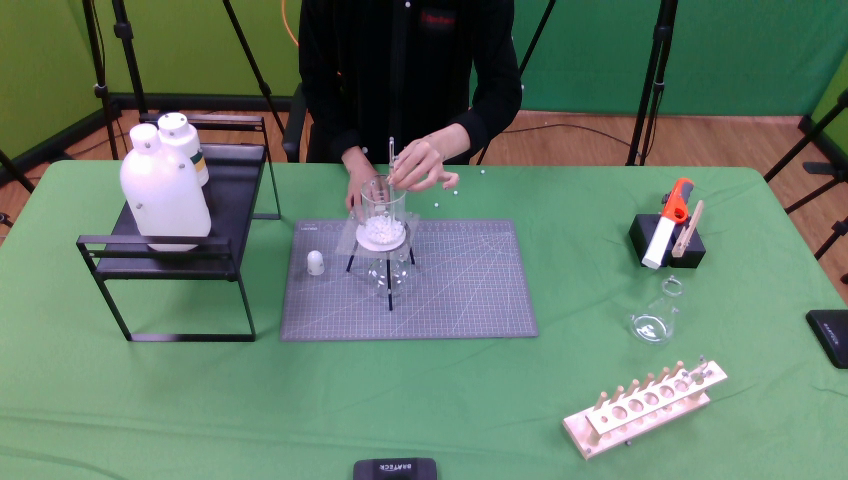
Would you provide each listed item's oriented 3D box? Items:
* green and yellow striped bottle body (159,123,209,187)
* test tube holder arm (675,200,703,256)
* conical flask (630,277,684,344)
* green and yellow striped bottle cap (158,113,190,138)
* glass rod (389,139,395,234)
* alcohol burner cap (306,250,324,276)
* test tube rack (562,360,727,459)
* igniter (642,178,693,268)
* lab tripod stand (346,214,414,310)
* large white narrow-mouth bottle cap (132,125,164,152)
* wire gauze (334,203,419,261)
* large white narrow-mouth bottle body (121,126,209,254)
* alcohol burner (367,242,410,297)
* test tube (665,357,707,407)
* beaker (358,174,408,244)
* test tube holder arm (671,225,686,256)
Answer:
[{"bbox_3d":[-0.395,-0.145,0.989,0.063,0.120,0.063,2,46,-2],"label":"green and yellow striped bottle body"},{"bbox_3d":[0.523,-0.025,1.190,0.013,0.015,0.178,1,36,41],"label":"test tube holder arm"},{"bbox_3d":[0.408,0.117,1.045,0.075,0.122,0.075,2,46,-2],"label":"conical flask"},{"bbox_3d":[-0.393,-0.180,0.951,0.045,0.020,0.045,2,44,-2],"label":"green and yellow striped bottle cap"},{"bbox_3d":[-0.049,-0.077,0.946,0.008,0.201,0.008,1,48,-1],"label":"glass rod"},{"bbox_3d":[-0.204,0.041,1.125,0.034,0.048,0.033,2,46,-2],"label":"alcohol burner cap"},{"bbox_3d":[0.341,0.247,0.940,0.243,0.085,0.066,-16,49,-18],"label":"test tube rack"},{"bbox_3d":[0.488,-0.042,1.205,0.057,0.025,0.276,30,51,11],"label":"igniter"},{"bbox_3d":[-0.075,0.030,1.082,0.148,0.132,0.147,1,47,-1],"label":"lab tripod stand"},{"bbox_3d":[-0.370,-0.137,0.813,0.038,0.024,0.037,3,46,-3],"label":"large white narrow-mouth bottle cap"},{"bbox_3d":[-0.079,-0.013,1.031,0.121,0.011,0.124,8,48,7],"label":"wire gauze"},{"bbox_3d":[-0.378,-0.077,0.875,0.102,0.195,0.101,3,46,-3],"label":"large white narrow-mouth bottle body"},{"bbox_3d":[-0.064,0.047,1.080,0.078,0.120,0.077,1,47,-1],"label":"alcohol burner"},{"bbox_3d":[0.386,0.215,0.905,0.017,0.151,0.017,1,52,-1],"label":"test tube"},{"bbox_3d":[-0.066,-0.049,1.001,0.084,0.101,0.073,-18,49,-20],"label":"beaker"},{"bbox_3d":[0.494,0.001,1.166,0.010,0.015,0.087,1,36,42],"label":"test tube holder arm"}]
